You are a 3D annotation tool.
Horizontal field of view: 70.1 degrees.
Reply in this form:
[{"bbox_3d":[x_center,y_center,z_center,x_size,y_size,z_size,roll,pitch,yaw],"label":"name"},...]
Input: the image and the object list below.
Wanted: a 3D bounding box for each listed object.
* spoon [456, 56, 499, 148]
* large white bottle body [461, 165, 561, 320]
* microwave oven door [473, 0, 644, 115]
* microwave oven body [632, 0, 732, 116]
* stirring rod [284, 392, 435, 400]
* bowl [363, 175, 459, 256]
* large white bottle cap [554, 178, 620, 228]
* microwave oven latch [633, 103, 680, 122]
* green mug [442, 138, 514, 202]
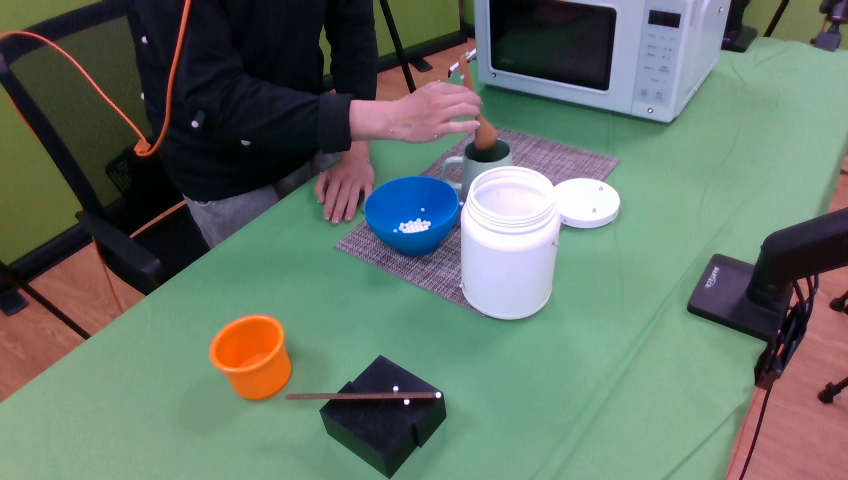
[{"bbox_3d":[0.075,-0.198,0.892,0.041,0.195,0.021,-27,51,4],"label":"spoon"},{"bbox_3d":[0.115,0.004,0.816,0.130,0.185,0.130,-2,43,2],"label":"large white bottle body"},{"bbox_3d":[0.257,-0.396,1.199,0.353,0.245,0.039,21,48,29],"label":"microwave oven door"},{"bbox_3d":[0.377,-0.462,1.267,0.438,0.261,0.327,21,48,30],"label":"microwave oven body"},{"bbox_3d":[-0.075,0.180,0.698,0.176,0.006,0.014,-2,6,6],"label":"stirring rod"},{"bbox_3d":[-0.016,-0.029,0.955,0.151,0.077,0.150,-4,40,4],"label":"bowl"},{"bbox_3d":[0.265,-0.063,1.001,0.115,0.018,0.114,-3,42,3],"label":"large white bottle cap"},{"bbox_3d":[0.444,-0.249,1.157,0.078,0.029,0.030,21,49,30],"label":"microwave oven latch"},{"bbox_3d":[0.091,-0.108,1.012,0.125,0.105,0.092,3,42,11],"label":"green mug"}]
